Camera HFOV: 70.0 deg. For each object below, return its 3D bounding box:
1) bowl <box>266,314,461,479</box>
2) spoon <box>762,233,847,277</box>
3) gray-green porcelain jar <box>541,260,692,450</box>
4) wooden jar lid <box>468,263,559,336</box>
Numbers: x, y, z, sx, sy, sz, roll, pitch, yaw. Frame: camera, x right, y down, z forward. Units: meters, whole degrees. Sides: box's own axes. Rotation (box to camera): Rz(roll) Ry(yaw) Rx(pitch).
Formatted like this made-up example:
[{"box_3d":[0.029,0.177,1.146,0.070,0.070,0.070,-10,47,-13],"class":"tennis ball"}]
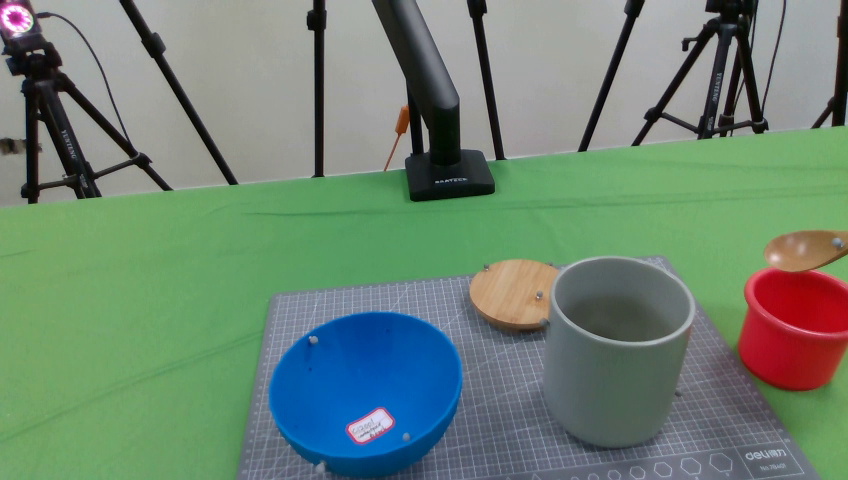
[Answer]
[{"box_3d":[-0.044,0.138,0.490,0.151,0.077,0.150,-2,35,2],"class":"bowl"},{"box_3d":[0.323,-0.004,0.408,0.022,0.193,0.041,38,64,-14],"class":"spoon"},{"box_3d":[0.150,0.096,0.490,0.106,0.127,0.105,-3,35,2],"class":"gray-green porcelain jar"},{"box_3d":[0.100,0.063,0.639,0.108,0.021,0.107,-3,33,2],"class":"wooden jar lid"}]
